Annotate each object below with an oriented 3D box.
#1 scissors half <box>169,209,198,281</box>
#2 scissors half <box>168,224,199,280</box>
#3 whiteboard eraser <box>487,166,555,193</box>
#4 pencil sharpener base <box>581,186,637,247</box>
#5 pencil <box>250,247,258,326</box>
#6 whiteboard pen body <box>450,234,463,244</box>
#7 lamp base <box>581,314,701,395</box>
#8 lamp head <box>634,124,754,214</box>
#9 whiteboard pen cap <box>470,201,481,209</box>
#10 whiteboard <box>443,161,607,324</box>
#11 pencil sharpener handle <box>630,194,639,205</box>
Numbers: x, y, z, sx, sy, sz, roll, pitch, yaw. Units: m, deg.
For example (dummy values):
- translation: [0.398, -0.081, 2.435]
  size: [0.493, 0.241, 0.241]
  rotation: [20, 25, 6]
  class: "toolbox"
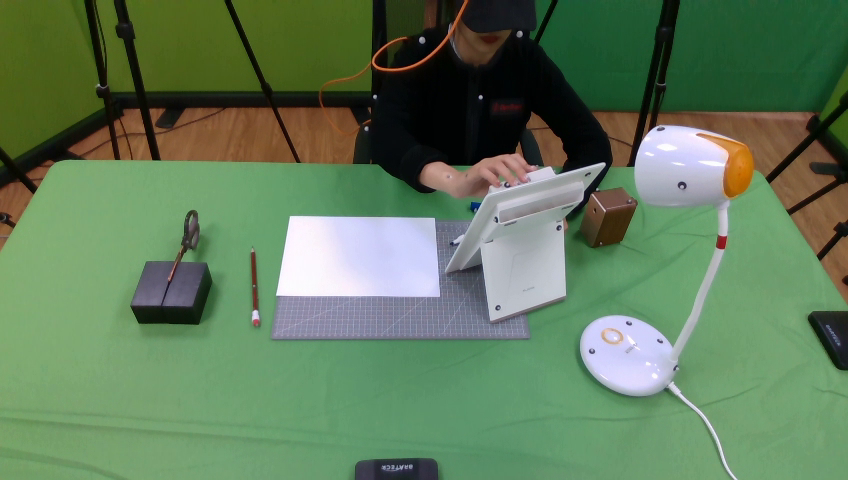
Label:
- translation: [-0.438, 0.007, 1.099]
  size: [0.013, 0.040, 0.174]
  rotation: [4, 48, -5]
  class: "scissors half"
- translation: [-0.441, 0.023, 1.111]
  size: [0.013, 0.040, 0.174]
  rotation: [9, 29, -8]
  class: "scissors half"
- translation: [0.157, -0.081, 0.982]
  size: [0.113, 0.056, 0.041]
  rotation: [-20, 69, -11]
  class: "whiteboard eraser"
- translation: [0.369, -0.047, 1.209]
  size: [0.077, 0.107, 0.061]
  rotation: [-11, 47, -14]
  class: "pencil sharpener base"
- translation: [-0.312, 0.079, 1.107]
  size: [0.012, 0.012, 0.192]
  rotation: [-7, 46, -11]
  class: "pencil"
- translation: [0.110, -0.018, 1.222]
  size: [0.141, 0.017, 0.017]
  rotation: [-23, 52, -24]
  class: "whiteboard pen body"
- translation: [0.361, 0.145, 0.973]
  size: [0.178, 0.181, 0.160]
  rotation: [34, 53, 23]
  class: "lamp base"
- translation: [0.351, -0.089, 0.776]
  size: [0.112, 0.113, 0.122]
  rotation: [-30, 30, -28]
  class: "lamp head"
- translation: [0.113, -0.073, 1.280]
  size: [0.033, 0.018, 0.018]
  rotation: [5, 46, 5]
  class: "whiteboard pen cap"
- translation: [0.185, 0.025, 1.029]
  size: [0.217, 0.306, 0.143]
  rotation: [-15, 68, -18]
  class: "whiteboard"
- translation: [0.417, -0.068, 1.215]
  size: [0.031, 0.068, 0.036]
  rotation: [-11, 61, -14]
  class: "pencil sharpener handle"
